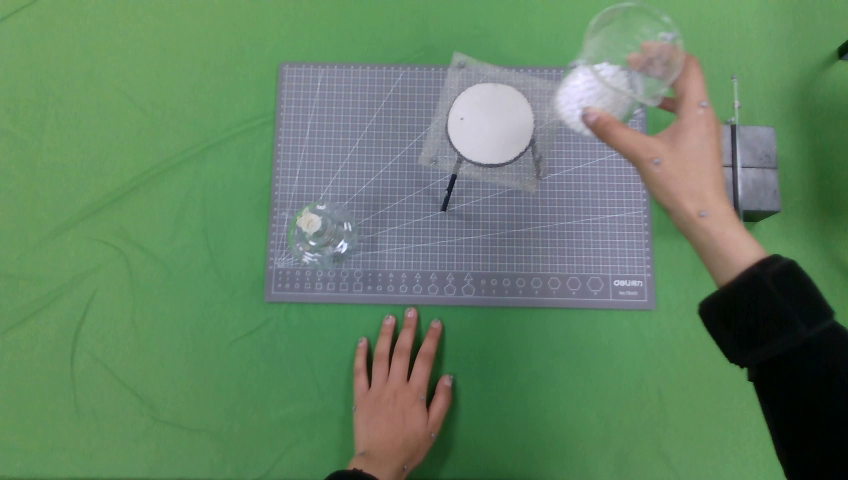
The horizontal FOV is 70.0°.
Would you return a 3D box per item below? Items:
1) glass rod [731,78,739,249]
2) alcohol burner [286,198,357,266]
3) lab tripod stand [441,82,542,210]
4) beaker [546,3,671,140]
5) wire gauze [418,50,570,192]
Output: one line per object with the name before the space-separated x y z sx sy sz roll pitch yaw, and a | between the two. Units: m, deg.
glass rod | 0.347 -0.088 0.676 0.008 0.008 0.199 5 80 1
alcohol burner | -0.114 -0.012 0.654 0.078 0.119 0.077 0 80 0
lab tripod stand | 0.065 -0.106 0.662 0.148 0.132 0.147 0 79 2
beaker | 0.146 -0.128 0.494 0.074 0.100 0.083 -21 81 -7
wire gauze | 0.070 -0.117 0.596 0.121 0.011 0.124 18 79 4
